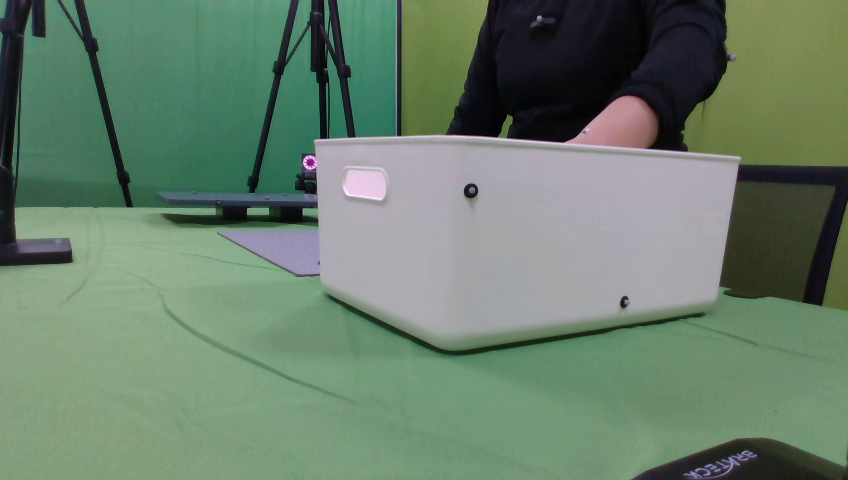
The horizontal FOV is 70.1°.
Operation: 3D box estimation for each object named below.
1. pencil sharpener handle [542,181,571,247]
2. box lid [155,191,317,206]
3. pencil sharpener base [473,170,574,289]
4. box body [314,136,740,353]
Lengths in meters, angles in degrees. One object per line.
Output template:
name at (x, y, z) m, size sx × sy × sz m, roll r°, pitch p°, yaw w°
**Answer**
pencil sharpener handle at (0.141, -0.026, 0.622) m, size 0.031 × 0.067 × 0.036 m, roll -3°, pitch 18°, yaw -35°
box lid at (-0.387, -0.091, 1.340) m, size 0.373 × 0.015 × 0.262 m, roll -1°, pitch 8°, yaw -30°
pencil sharpener base at (0.098, -0.012, 0.594) m, size 0.077 × 0.107 × 0.061 m, roll -3°, pitch 14°, yaw -35°
box body at (0.098, -0.012, 0.605) m, size 0.366 × 0.160 × 0.253 m, roll -2°, pitch 8°, yaw -33°
